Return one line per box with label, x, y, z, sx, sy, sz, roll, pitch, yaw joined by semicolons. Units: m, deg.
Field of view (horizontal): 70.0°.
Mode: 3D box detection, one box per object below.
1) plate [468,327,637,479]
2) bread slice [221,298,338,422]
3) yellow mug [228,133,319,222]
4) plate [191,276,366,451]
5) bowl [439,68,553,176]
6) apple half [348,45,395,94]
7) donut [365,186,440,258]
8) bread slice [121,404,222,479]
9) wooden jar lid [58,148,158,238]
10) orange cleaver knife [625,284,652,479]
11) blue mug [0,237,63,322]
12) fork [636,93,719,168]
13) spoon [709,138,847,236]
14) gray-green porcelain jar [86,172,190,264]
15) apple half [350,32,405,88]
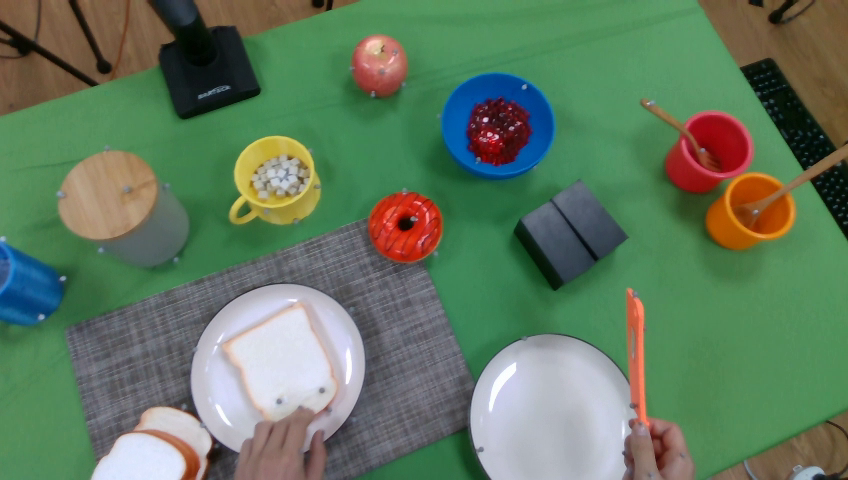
plate;0.155;0.212;0.735;0.209;0.038;0.208;1;73;-2
bread slice;-0.166;0.151;0.739;0.107;0.018;0.133;-32;77;-11
yellow mug;-0.204;-0.071;0.794;0.099;0.064;0.130;43;77;10
plate;-0.173;0.149;0.738;0.208;0.039;0.206;1;73;-2
bowl;0.092;-0.146;0.823;0.151;0.077;0.150;1;73;-2
apple half;-0.079;-0.226;0.841;0.081;0.082;0.032;33;69;8
donut;-0.027;-0.024;0.794;0.099;0.048;0.098;1;74;-2
bread slice;-0.288;0.258;0.699;0.105;0.019;0.131;13;71;-6
wooden jar lid;-0.354;-0.052;0.685;0.108;0.021;0.107;0;71;-1
orange cleaver knife;0.224;0.152;0.640;0.012;0.077;0.211;-3;88;8
blue mug;-0.512;0.059;0.720;0.082;0.106;0.116;40;76;10
fork;0.337;-0.142;0.795;0.209;0.018;0.028;24;67;-39
spoon;0.457;-0.068;0.776;0.022;0.194;0.041;-9;64;-53
gray-green porcelain jar;-0.356;-0.032;0.744;0.106;0.127;0.105;1;72;-2
apple half;-0.058;-0.257;0.853;0.080;0.075;0.053;32;69;12
